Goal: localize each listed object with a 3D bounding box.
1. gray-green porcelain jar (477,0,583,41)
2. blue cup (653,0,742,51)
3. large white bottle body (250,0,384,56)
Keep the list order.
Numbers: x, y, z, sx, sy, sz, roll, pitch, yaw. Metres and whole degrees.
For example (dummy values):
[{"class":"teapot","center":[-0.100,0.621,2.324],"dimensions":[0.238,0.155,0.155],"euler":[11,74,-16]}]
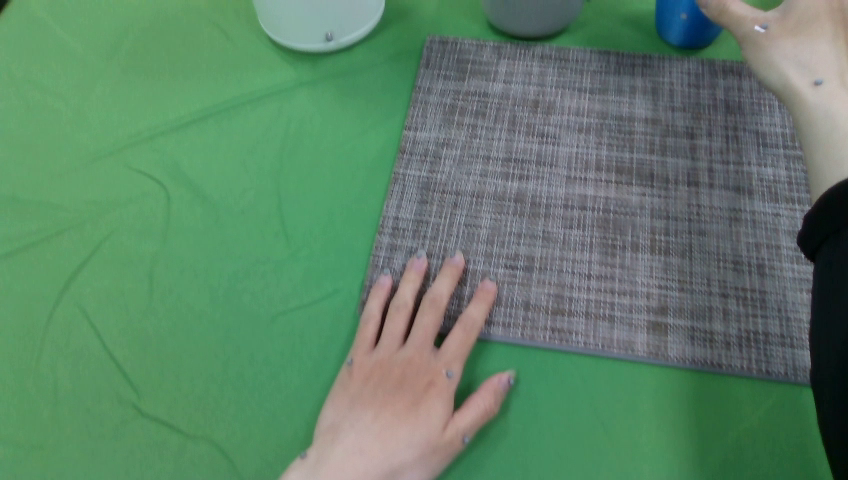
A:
[{"class":"gray-green porcelain jar","center":[0.101,-0.261,0.562],"dimensions":[0.106,0.127,0.105],"euler":[-2,61,4]},{"class":"blue cup","center":[0.251,-0.230,0.548],"dimensions":[0.092,0.101,0.092],"euler":[-2,59,5]},{"class":"large white bottle body","center":[-0.111,-0.279,0.551],"dimensions":[0.130,0.186,0.129],"euler":[-2,60,3]}]
